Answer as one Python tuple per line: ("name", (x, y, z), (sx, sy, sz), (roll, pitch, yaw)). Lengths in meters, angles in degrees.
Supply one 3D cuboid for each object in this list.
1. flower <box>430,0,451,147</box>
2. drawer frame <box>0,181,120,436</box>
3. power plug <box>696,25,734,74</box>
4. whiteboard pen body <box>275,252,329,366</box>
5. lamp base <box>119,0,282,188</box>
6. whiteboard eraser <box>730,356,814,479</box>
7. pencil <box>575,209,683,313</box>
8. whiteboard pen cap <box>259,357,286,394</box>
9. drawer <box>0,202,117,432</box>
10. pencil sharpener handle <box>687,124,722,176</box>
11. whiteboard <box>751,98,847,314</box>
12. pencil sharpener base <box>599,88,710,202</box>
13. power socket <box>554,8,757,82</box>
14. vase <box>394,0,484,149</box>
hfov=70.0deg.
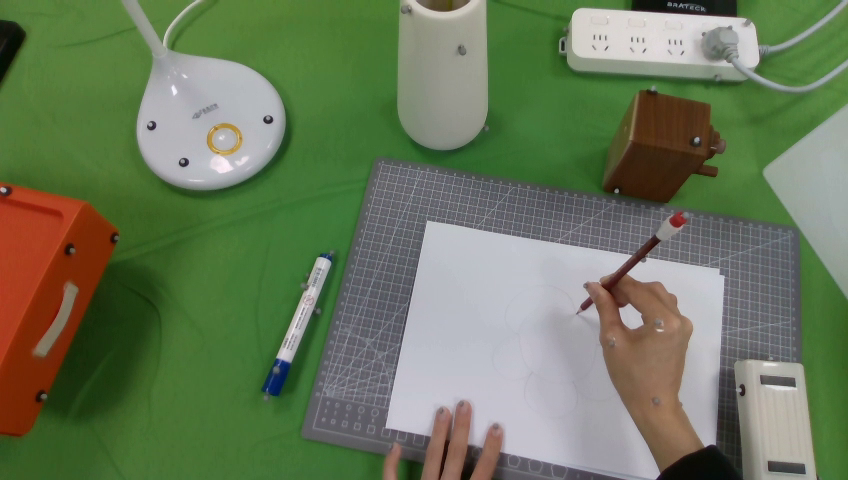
("flower", (0.022, -0.219, 0.519), (0.038, 0.364, 0.043), (-2, 50, -7))
("drawer frame", (-0.418, 0.044, 0.527), (0.213, 0.083, 0.200), (13, 70, 3))
("power plug", (0.314, -0.202, 0.661), (0.035, 0.053, 0.072), (14, 71, 7))
("whiteboard pen body", (-0.122, 0.075, 0.588), (0.017, 0.017, 0.140), (14, 66, 7))
("lamp base", (-0.247, -0.166, 0.598), (0.160, 0.181, 0.178), (-43, 71, -15))
("whiteboard eraser", (0.306, 0.161, 0.538), (0.055, 0.042, 0.112), (5, 69, 1))
("pencil", (0.163, 0.026, 0.509), (0.012, 0.195, 0.012), (4, 62, -8))
("whiteboard pen cap", (-0.140, 0.125, 0.564), (0.018, 0.018, 0.033), (15, 64, 7))
("drawer", (-0.412, 0.043, 0.525), (0.211, 0.074, 0.193), (13, 70, 5))
("pencil sharpener handle", (0.277, -0.084, 0.588), (0.030, 0.068, 0.036), (12, 68, 6))
("whiteboard", (0.499, -0.069, 0.520), (0.144, 0.307, 0.215), (-13, 67, -25))
("pencil sharpener base", (0.227, -0.091, 0.604), (0.076, 0.108, 0.061), (12, 69, 5))
("power socket", (0.266, -0.224, 0.695), (0.227, 0.033, 0.071), (5, 70, 2))
("vase", (0.013, -0.173, 0.589), (0.098, 0.201, 0.097), (-1, 68, 2))
